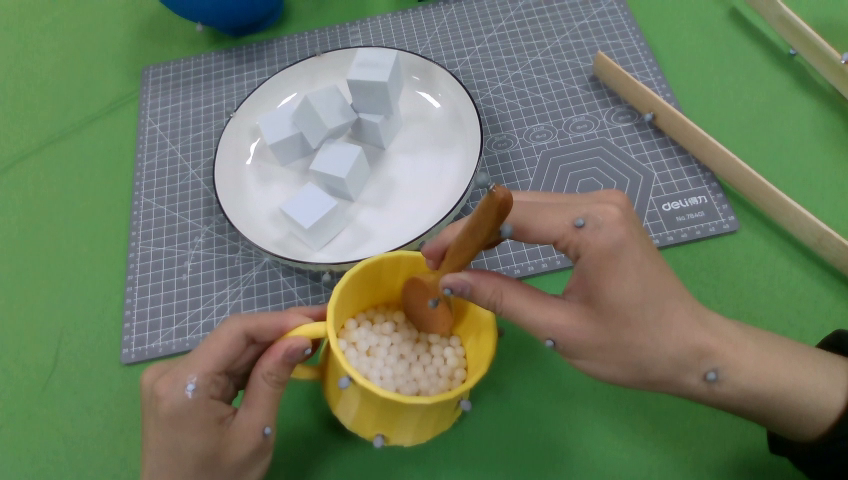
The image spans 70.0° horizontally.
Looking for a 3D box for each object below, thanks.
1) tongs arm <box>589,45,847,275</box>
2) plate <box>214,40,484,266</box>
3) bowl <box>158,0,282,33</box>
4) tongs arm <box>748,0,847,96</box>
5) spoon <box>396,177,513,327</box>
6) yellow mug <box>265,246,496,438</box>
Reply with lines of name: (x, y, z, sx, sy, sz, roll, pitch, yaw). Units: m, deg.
tongs arm: (0.257, -0.025, 0.416, 0.028, 0.028, 0.384, -35, 64, -15)
plate: (-0.056, -0.069, 0.474, 0.207, 0.039, 0.206, -3, 61, 6)
bowl: (-0.183, -0.251, 0.570, 0.151, 0.077, 0.150, -3, 61, 7)
tongs arm: (0.327, -0.065, 0.425, 0.051, 0.027, 0.381, -25, 63, -6)
spoon: (0.011, 0.015, 0.312, 0.021, 0.194, 0.041, -38, 82, -18)
yellow mug: (-0.028, 0.062, 0.363, 0.131, 0.064, 0.099, -3, 54, -16)
